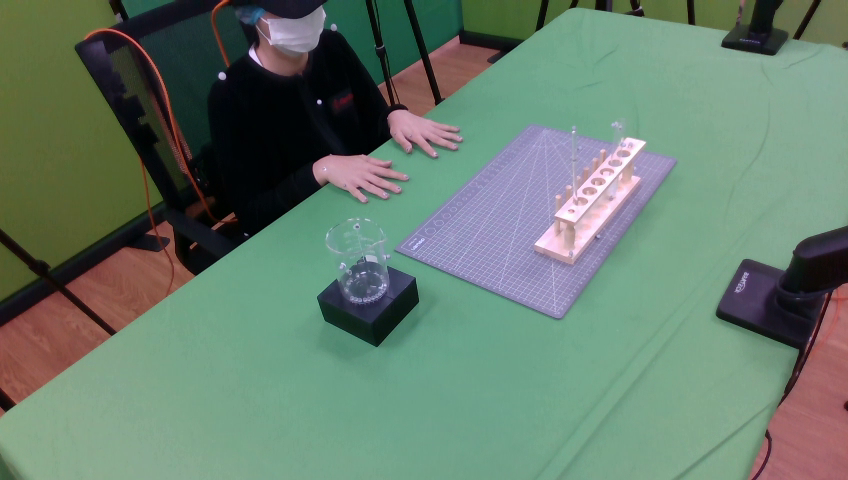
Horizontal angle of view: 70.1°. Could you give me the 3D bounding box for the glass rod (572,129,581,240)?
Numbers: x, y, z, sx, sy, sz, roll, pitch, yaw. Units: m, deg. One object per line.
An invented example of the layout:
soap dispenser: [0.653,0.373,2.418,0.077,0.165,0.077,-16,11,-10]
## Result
glass rod: [0.220,-0.074,0.871,0.008,0.201,0.008,-8,42,8]

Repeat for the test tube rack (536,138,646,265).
test tube rack: [0.268,-0.071,0.964,0.066,0.085,0.243,23,49,32]

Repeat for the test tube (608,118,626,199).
test tube: [0.301,-0.124,0.945,0.017,0.151,0.017,-5,44,6]

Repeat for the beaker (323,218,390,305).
beaker: [-0.084,0.031,0.813,0.084,0.101,0.073,-1,41,8]
